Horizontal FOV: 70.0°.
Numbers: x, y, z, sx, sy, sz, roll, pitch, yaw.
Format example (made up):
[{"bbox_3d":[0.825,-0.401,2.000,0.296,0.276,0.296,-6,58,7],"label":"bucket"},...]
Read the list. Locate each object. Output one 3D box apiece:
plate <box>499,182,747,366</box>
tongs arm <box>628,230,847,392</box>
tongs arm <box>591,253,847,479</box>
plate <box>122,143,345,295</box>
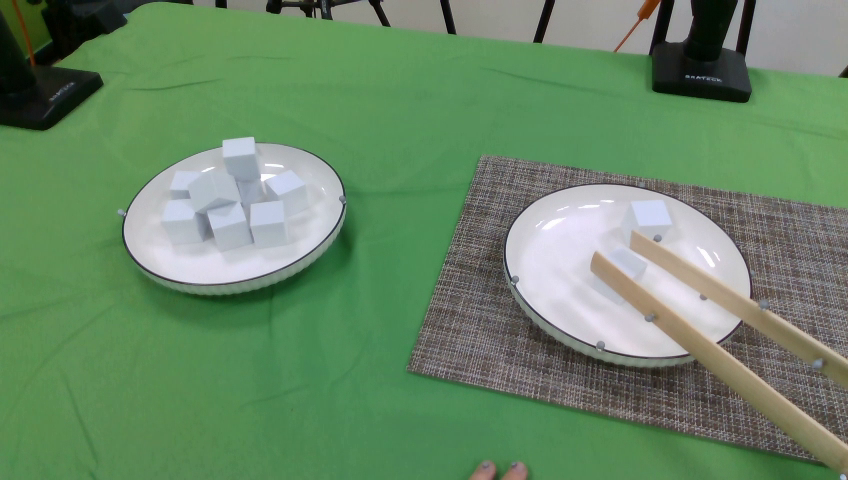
[{"bbox_3d":[0.170,0.028,0.538,0.208,0.039,0.205,0,45,1],"label":"plate"},{"bbox_3d":[0.278,0.107,0.397,0.051,0.027,0.380,-32,50,-24],"label":"tongs arm"},{"bbox_3d":[0.255,0.119,0.387,0.028,0.028,0.383,-27,48,-25],"label":"tongs arm"},{"bbox_3d":[-0.181,-0.021,0.596,0.209,0.038,0.207,0,44,0],"label":"plate"}]
